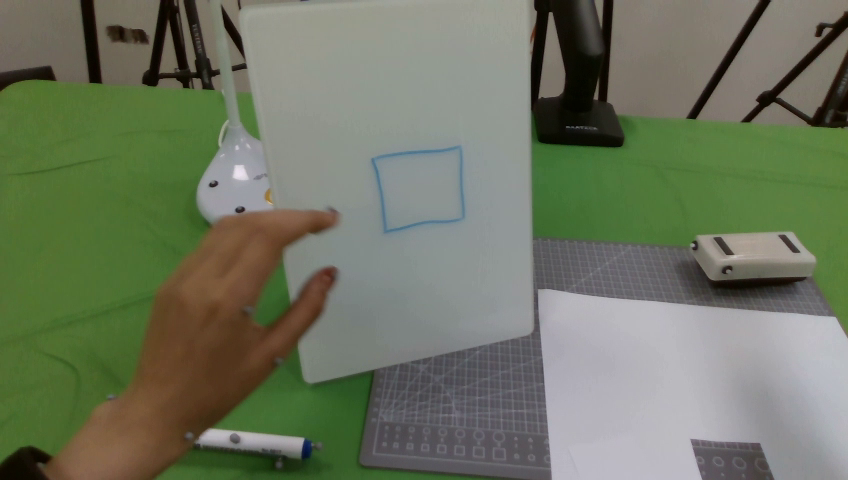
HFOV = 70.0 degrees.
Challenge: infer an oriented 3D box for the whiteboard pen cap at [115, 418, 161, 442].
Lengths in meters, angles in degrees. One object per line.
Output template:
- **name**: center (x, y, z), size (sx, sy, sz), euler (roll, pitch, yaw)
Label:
- **whiteboard pen cap**: center (-0.216, 0.145, 0.463), size (0.033, 0.018, 0.018), euler (5, 39, -1)

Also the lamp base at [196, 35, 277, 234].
- **lamp base**: center (-0.192, -0.124, 0.677), size (0.161, 0.182, 0.177), euler (-30, 47, -34)

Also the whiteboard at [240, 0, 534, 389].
- **whiteboard**: center (-0.029, -0.054, 0.550), size (0.218, 0.307, 0.142), euler (-10, 22, -14)

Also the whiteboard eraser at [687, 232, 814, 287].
- **whiteboard eraser**: center (0.342, 0.021, 0.640), size (0.113, 0.042, 0.055), euler (-2, 40, -5)

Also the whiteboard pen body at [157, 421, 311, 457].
- **whiteboard pen body**: center (-0.157, 0.151, 0.463), size (0.141, 0.017, 0.017), euler (6, 39, 0)
